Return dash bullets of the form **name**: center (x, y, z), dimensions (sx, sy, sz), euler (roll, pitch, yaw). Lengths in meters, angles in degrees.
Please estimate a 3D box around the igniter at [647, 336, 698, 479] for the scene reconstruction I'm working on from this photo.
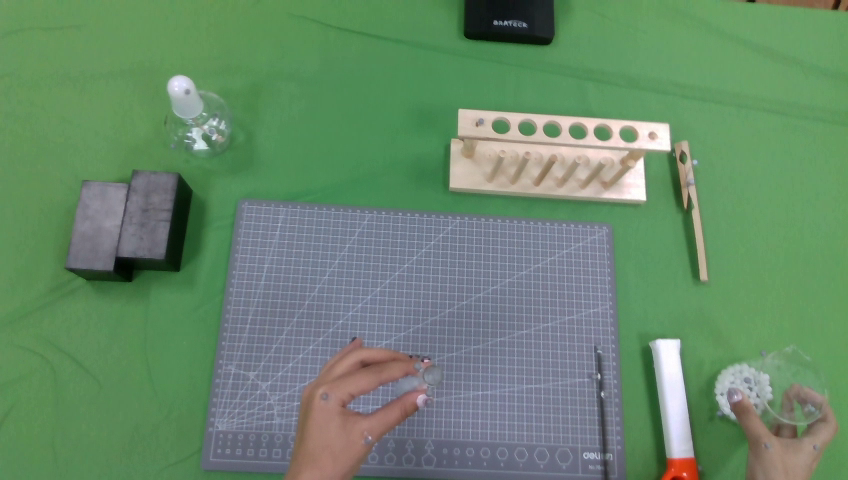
- **igniter**: center (0.276, 0.242, 0.657), dimensions (0.057, 0.025, 0.275), euler (3, 73, -14)

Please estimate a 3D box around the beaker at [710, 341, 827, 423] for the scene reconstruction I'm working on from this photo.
- **beaker**: center (0.365, 0.155, 0.653), dimensions (0.074, 0.100, 0.083), euler (17, 72, 1)

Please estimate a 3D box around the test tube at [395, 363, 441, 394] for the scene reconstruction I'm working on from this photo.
- **test tube**: center (-0.008, 0.119, 0.514), dimensions (0.017, 0.150, 0.017), euler (3, 73, -10)

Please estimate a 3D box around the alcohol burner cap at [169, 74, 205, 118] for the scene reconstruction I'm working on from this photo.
- **alcohol burner cap**: center (-0.255, -0.158, 0.649), dimensions (0.034, 0.048, 0.033), euler (4, 67, -9)

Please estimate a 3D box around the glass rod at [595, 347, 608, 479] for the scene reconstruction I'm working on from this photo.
- **glass rod**: center (0.195, 0.217, 0.664), dimensions (0.008, 0.008, 0.198), euler (3, 73, -4)

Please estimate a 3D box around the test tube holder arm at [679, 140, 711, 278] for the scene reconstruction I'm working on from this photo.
- **test tube holder arm**: center (0.334, -0.040, 0.749), dimensions (0.013, 0.015, 0.177), euler (-14, 72, 29)

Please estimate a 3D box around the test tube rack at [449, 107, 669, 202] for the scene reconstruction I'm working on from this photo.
- **test tube rack**: center (0.155, -0.099, 0.718), dimensions (0.243, 0.085, 0.066), euler (4, 73, -4)

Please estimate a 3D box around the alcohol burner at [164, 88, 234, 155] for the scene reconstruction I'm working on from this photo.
- **alcohol burner**: center (-0.258, -0.145, 0.682), dimensions (0.078, 0.120, 0.077), euler (1, 71, -3)

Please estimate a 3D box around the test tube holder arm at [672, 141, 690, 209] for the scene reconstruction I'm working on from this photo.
- **test tube holder arm**: center (0.326, -0.082, 0.764), dimensions (0.010, 0.015, 0.087), euler (-13, 72, 29)
